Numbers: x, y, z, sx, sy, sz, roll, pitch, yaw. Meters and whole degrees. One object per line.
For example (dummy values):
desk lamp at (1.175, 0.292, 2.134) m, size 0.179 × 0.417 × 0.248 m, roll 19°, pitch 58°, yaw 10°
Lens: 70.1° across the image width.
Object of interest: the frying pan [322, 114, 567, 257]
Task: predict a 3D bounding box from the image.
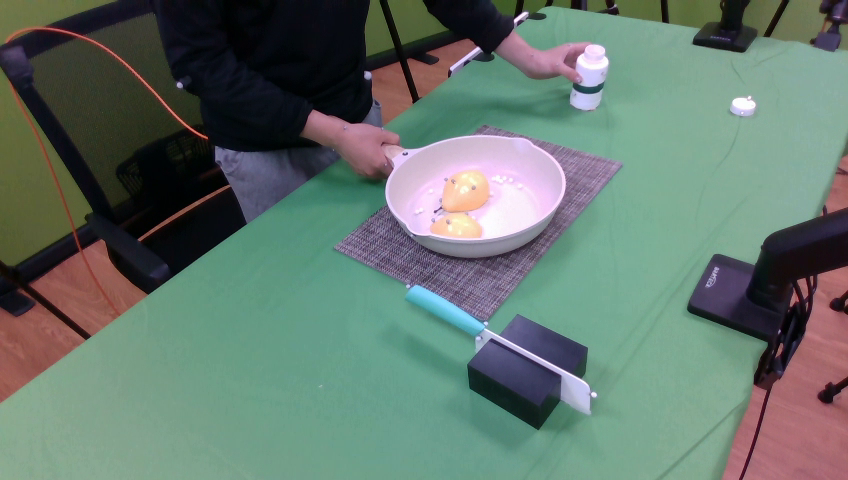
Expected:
frying pan at (0.004, -0.121, 1.039) m, size 0.484 × 0.103 × 0.308 m, roll 31°, pitch 52°, yaw 25°

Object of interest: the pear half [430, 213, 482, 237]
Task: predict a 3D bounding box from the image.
pear half at (0.050, -0.024, 0.973) m, size 0.087 × 0.031 × 0.070 m, roll 14°, pitch 41°, yaw 18°

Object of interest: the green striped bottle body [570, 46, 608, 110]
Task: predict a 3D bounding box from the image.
green striped bottle body at (0.335, -0.330, 1.224) m, size 0.063 × 0.120 × 0.063 m, roll -1°, pitch 47°, yaw 1°

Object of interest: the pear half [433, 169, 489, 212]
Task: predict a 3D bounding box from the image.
pear half at (0.057, -0.083, 1.024) m, size 0.110 × 0.056 × 0.075 m, roll -34°, pitch 42°, yaw -25°

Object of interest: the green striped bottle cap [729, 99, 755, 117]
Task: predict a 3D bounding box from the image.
green striped bottle cap at (0.623, -0.259, 1.182) m, size 0.044 × 0.020 × 0.044 m, roll -3°, pitch 41°, yaw 3°

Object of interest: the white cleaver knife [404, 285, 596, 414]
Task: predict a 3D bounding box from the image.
white cleaver knife at (0.084, 0.135, 0.764) m, size 0.284 × 0.066 × 0.021 m, roll 27°, pitch 47°, yaw 31°
